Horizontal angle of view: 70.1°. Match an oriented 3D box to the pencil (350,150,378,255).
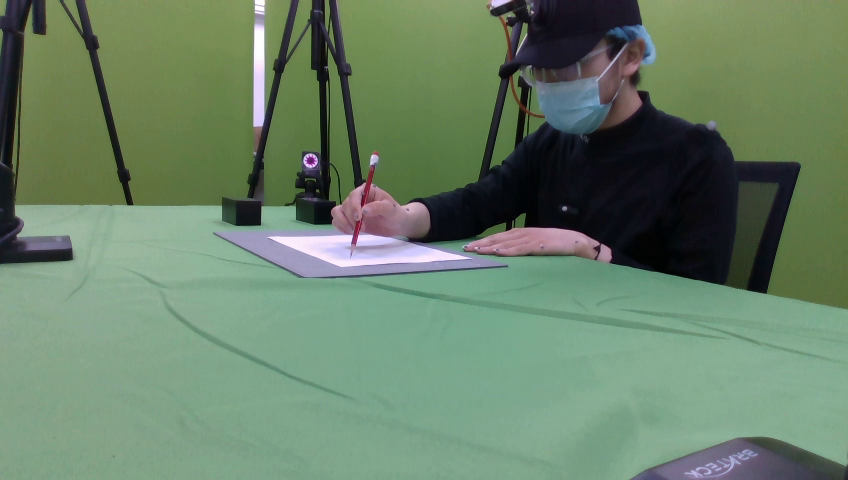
[{"bbox_3d":[-0.089,-0.059,0.894,0.012,0.193,0.012,7,-33,5],"label":"pencil"}]
